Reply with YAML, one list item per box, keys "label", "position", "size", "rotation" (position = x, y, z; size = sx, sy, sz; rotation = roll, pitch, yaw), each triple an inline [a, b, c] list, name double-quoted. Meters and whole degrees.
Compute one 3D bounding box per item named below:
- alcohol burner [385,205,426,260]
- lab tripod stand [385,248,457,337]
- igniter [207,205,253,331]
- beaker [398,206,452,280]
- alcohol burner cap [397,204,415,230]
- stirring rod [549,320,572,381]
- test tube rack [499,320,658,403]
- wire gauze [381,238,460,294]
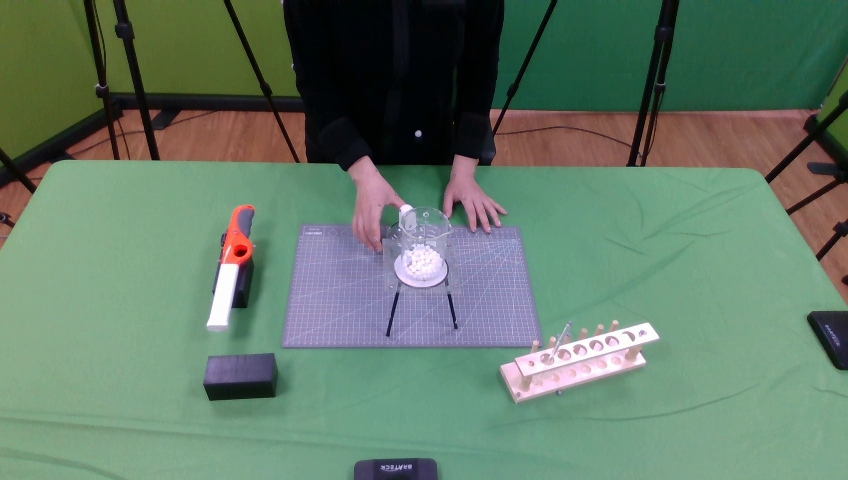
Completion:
- label: "alcohol burner"
  position: [-0.035, -0.020, 1.147]
  size: [0.078, 0.120, 0.077]
  rotation: [1, 46, -1]
- label: "lab tripod stand"
  position: [-0.010, 0.087, 1.032]
  size: [0.148, 0.132, 0.147]
  rotation: [1, 45, -1]
- label: "igniter"
  position: [-0.339, 0.038, 1.066]
  size: [0.057, 0.025, 0.274]
  rotation: [2, 48, -6]
- label: "beaker"
  position: [0.000, 0.008, 0.950]
  size: [0.084, 0.101, 0.073]
  rotation: [10, 46, 6]
- label: "alcohol burner cap"
  position: [-0.034, -0.044, 1.121]
  size: [0.034, 0.048, 0.033]
  rotation: [-1, 44, 2]
- label: "stirring rod"
  position: [0.202, 0.167, 0.901]
  size: [0.006, 0.177, 0.014]
  rotation: [-17, 55, -11]
- label: "test tube rack"
  position: [0.252, 0.187, 0.994]
  size: [0.243, 0.085, 0.066]
  rotation: [-12, 48, -15]
- label: "wire gauze"
  position: [-0.007, 0.042, 0.985]
  size: [0.125, 0.011, 0.120]
  rotation: [-1, 43, -2]
